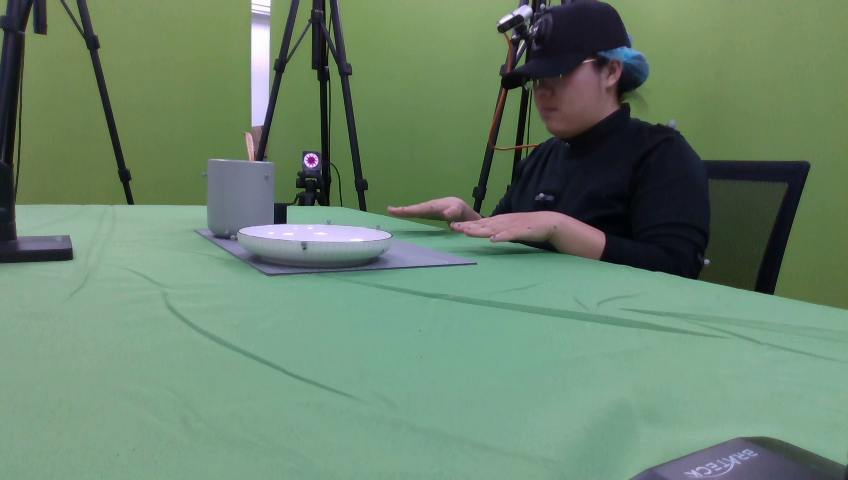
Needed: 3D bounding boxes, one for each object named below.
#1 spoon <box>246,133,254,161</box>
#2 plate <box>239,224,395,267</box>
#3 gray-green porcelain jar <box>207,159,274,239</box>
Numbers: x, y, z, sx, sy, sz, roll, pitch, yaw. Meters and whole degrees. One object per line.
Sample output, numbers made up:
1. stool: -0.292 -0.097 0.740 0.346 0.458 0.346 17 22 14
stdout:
1. spoon: -0.344 -0.153 1.209 0.042 0.021 0.193 3 51 -22
2. plate: -0.144 0.007 0.823 0.208 0.039 0.207 3 7 0
3. gray-green porcelain jar: -0.304 -0.068 1.004 0.106 0.126 0.106 3 7 0
